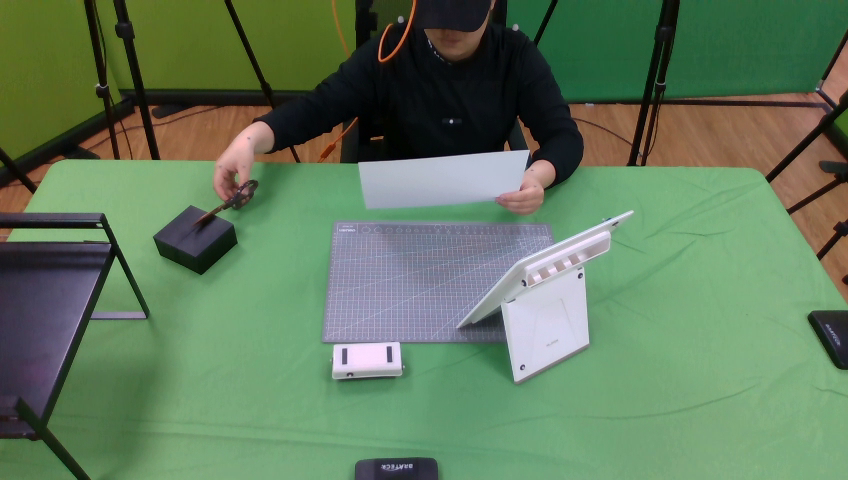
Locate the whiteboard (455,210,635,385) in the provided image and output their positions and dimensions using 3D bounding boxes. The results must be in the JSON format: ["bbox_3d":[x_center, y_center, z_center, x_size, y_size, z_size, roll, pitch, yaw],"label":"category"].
[{"bbox_3d":[0.211,0.111,0.955,0.217,0.306,0.143,-21,71,-23],"label":"whiteboard"}]

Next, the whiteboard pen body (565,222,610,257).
[{"bbox_3d":[0.335,-0.004,1.228,0.141,0.017,0.017,-33,56,-29],"label":"whiteboard pen body"}]

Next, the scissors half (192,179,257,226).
[{"bbox_3d":[-0.385,-0.073,1.174,0.013,0.040,0.175,40,47,2],"label":"scissors half"}]

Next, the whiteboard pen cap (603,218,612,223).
[{"bbox_3d":[0.379,-0.031,1.255,0.033,0.018,0.018,-33,57,-30],"label":"whiteboard pen cap"}]

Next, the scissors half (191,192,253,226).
[{"bbox_3d":[-0.394,-0.061,1.187,0.013,0.040,0.175,36,31,6],"label":"scissors half"}]

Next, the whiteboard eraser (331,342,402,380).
[{"bbox_3d":[-0.094,0.198,0.986,0.113,0.042,0.055,-2,44,-6],"label":"whiteboard eraser"}]
